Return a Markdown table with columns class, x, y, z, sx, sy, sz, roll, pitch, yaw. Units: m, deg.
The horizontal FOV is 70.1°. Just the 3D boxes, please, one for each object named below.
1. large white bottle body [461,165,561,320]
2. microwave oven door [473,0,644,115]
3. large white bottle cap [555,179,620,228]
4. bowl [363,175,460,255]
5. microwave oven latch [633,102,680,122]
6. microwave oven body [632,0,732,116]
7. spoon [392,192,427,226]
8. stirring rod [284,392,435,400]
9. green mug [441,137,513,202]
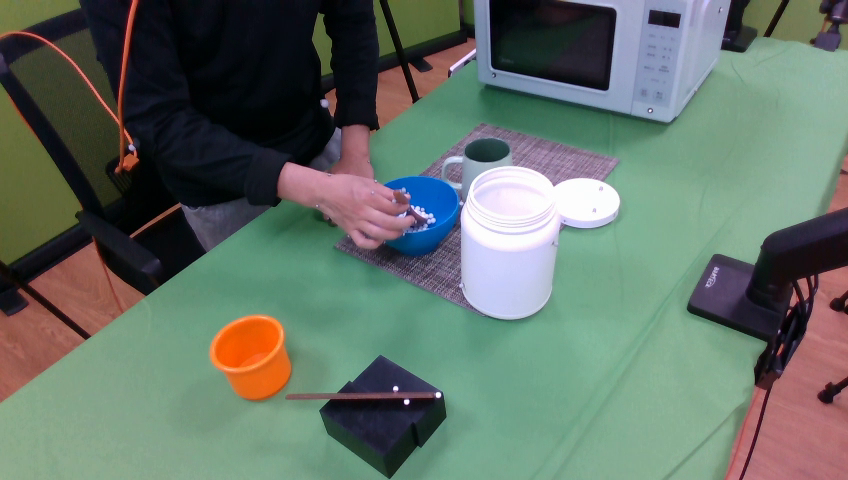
| class | x | y | z | sx | sy | sz | roll | pitch | yaw |
| --- | --- | --- | --- | --- | --- | --- | --- | --- | --- |
| large white bottle body | 0.115 | 0.004 | 0.816 | 0.130 | 0.185 | 0.130 | -2 | 43 | 2 |
| microwave oven door | 0.257 | -0.396 | 1.199 | 0.353 | 0.245 | 0.039 | 21 | 48 | 29 |
| large white bottle cap | 0.265 | -0.062 | 1.001 | 0.115 | 0.018 | 0.114 | -3 | 41 | 3 |
| bowl | -0.016 | -0.029 | 0.955 | 0.151 | 0.077 | 0.150 | -4 | 40 | 3 |
| microwave oven latch | 0.444 | -0.249 | 1.157 | 0.078 | 0.029 | 0.030 | 21 | 49 | 30 |
| microwave oven body | 0.377 | -0.462 | 1.267 | 0.438 | 0.261 | 0.327 | 21 | 48 | 30 |
| spoon | -0.026 | -0.046 | 0.892 | 0.041 | 0.194 | 0.021 | 0 | 77 | 8 |
| stirring rod | -0.075 | 0.180 | 0.698 | 0.176 | 0.006 | 0.014 | -2 | 6 | 6 |
| green mug | 0.091 | -0.108 | 1.012 | 0.125 | 0.105 | 0.092 | 2 | 42 | 11 |
